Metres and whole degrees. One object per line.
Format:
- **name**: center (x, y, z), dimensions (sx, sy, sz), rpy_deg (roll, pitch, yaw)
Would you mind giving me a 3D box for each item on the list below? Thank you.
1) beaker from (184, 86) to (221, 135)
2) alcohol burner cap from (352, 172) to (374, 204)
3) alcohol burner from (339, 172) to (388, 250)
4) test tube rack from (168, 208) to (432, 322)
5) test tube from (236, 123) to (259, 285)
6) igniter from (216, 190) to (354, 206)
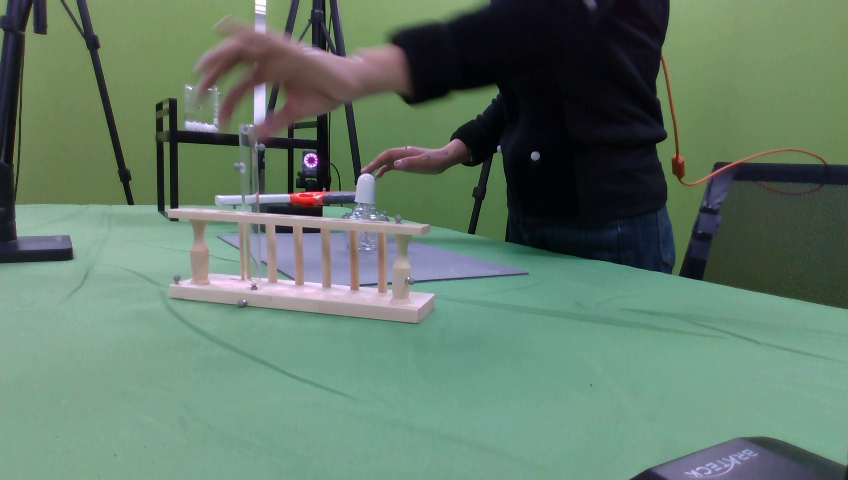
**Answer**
- **beaker**: center (-0.476, -0.277, 1.296), dimensions (0.074, 0.100, 0.084), rpy_deg (2, 8, -1)
- **alcohol burner cap**: center (-0.093, -0.081, 0.935), dimensions (0.034, 0.048, 0.034), rpy_deg (6, 9, -1)
- **alcohol burner**: center (-0.094, -0.045, 0.939), dimensions (0.078, 0.119, 0.078), rpy_deg (0, 7, 0)
- **test tube rack**: center (-0.116, 0.018, 0.574), dimensions (0.242, 0.085, 0.067), rpy_deg (4, 7, 14)
- **test tube**: center (-0.163, -0.032, 0.559), dimensions (0.017, 0.150, 0.017), rpy_deg (1, 12, 0)
- **igniter**: center (-0.249, -0.079, 1.152), dimensions (0.278, 0.025, 0.057), rpy_deg (-4, 12, -27)
